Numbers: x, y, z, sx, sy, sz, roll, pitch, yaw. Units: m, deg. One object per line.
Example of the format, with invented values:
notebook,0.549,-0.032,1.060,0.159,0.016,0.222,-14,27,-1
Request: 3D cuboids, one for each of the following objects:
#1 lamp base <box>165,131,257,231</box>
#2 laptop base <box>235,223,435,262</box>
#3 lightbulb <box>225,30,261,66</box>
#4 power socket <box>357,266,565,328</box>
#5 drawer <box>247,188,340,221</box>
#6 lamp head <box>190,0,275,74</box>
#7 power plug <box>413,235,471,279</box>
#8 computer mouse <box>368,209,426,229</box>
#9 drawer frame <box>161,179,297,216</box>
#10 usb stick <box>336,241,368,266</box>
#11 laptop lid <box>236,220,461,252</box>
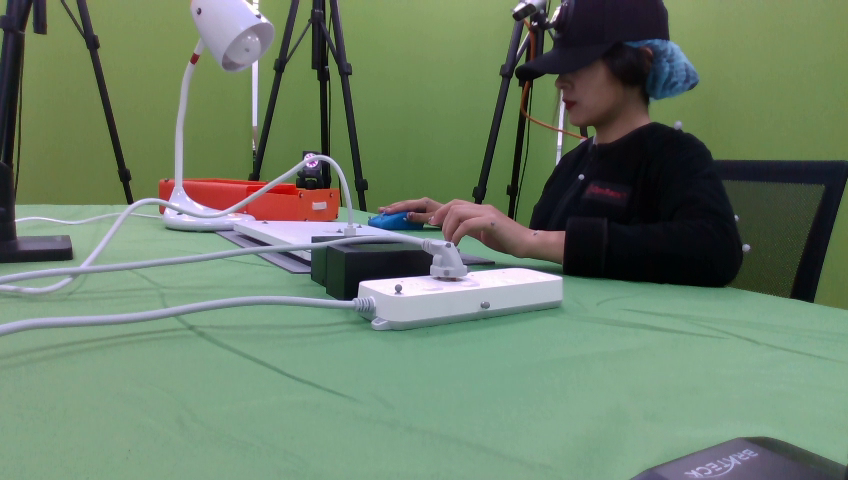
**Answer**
lamp base,-0.407,-0.112,1.119,0.179,0.180,0.161,-1,7,7
laptop base,-0.135,0.002,0.949,0.237,0.023,0.352,2,6,-33
lightbulb,-0.317,-0.335,1.001,0.107,0.059,0.059,47,15,5
power socket,0.041,0.049,0.572,0.228,0.032,0.072,-3,8,-35
drawer,-0.314,-0.078,1.301,0.211,0.073,0.195,4,8,15
lamp head,-0.331,-0.355,1.008,0.123,0.112,0.112,43,15,6
power plug,0.017,0.023,0.588,0.035,0.052,0.072,-1,8,-24
computer mouse,-0.056,-0.043,1.267,0.118,0.041,0.062,-5,11,-28
drawer frame,-0.421,-0.089,1.329,0.213,0.082,0.202,4,8,16
usb stick,-0.093,0.016,0.748,0.021,0.027,0.059,-4,5,-36
laptop lid,-0.133,-0.010,0.948,0.243,0.013,0.355,0,7,-31
